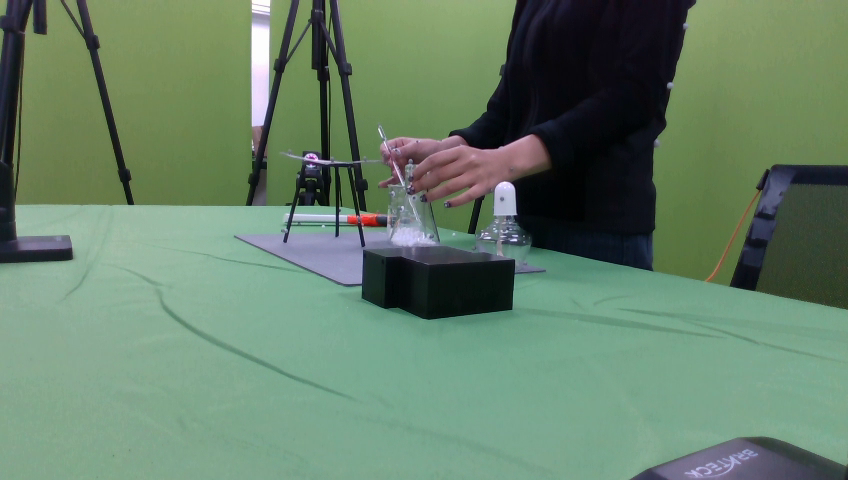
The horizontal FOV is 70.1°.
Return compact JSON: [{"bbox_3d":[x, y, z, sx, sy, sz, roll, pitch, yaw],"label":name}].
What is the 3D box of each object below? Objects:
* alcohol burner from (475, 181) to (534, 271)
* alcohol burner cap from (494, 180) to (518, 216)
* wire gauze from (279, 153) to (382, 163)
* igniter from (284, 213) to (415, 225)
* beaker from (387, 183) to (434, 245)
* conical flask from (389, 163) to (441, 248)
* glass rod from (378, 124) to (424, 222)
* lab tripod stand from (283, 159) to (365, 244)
[{"bbox_3d":[0.108,-0.020,0.804,0.078,0.119,0.078,3,5,0],"label":"alcohol burner"},{"bbox_3d":[0.108,-0.056,0.799,0.034,0.048,0.034,-2,4,0],"label":"alcohol burner cap"},{"bbox_3d":[-0.149,-0.129,0.974,0.124,0.011,0.122,10,9,41],"label":"wire gauze"},{"bbox_3d":[-0.154,-0.045,1.282,0.278,0.025,0.057,0,-2,-20],"label":"igniter"},{"bbox_3d":[-0.027,-0.044,1.011,0.074,0.100,0.083,-2,8,-34],"label":"beaker"},{"bbox_3d":[-0.011,-0.050,0.878,0.075,0.122,0.075,2,2,0],"label":"conical flask"},{"bbox_3d":[-0.040,-0.116,1.017,0.008,0.199,0.008,-22,-19,-8],"label":"glass rod"},{"bbox_3d":[-0.151,-0.063,0.983,0.148,0.131,0.148,4,7,0],"label":"lab tripod stand"}]
